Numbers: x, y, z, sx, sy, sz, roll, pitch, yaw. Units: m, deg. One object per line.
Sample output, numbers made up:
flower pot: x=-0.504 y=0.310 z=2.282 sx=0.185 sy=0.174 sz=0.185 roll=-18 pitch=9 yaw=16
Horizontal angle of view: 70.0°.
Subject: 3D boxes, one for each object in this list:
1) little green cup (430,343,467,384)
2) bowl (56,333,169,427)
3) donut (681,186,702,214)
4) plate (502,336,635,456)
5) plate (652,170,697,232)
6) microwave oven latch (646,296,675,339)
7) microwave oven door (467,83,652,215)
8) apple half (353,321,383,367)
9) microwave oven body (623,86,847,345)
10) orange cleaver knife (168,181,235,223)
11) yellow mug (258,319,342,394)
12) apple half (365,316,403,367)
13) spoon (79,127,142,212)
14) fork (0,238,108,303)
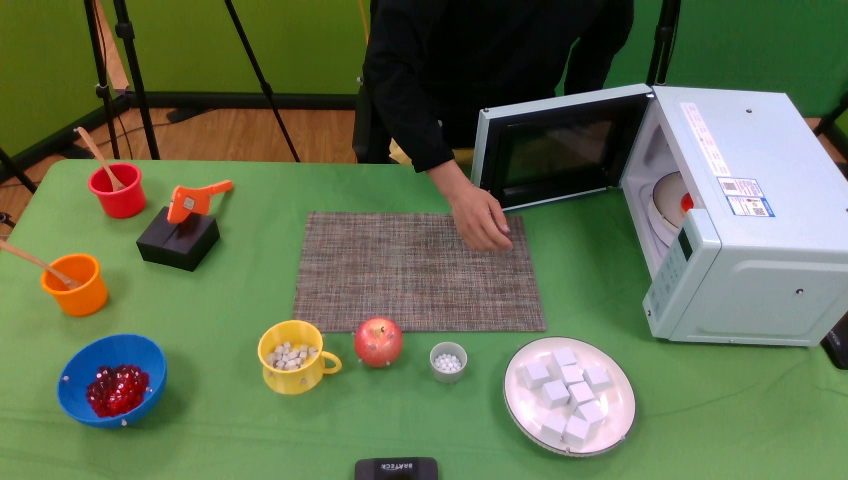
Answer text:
little green cup: x=0.039 y=0.203 z=0.994 sx=0.061 sy=0.039 sz=0.061 roll=2 pitch=46 yaw=-2
bowl: x=-0.456 y=0.223 z=0.911 sx=0.151 sy=0.077 sz=0.150 roll=3 pitch=46 yaw=-2
donut: x=0.553 y=-0.067 z=1.184 sx=0.099 sy=0.048 sz=0.098 roll=2 pitch=49 yaw=-2
plate: x=0.225 y=0.248 z=0.963 sx=0.208 sy=0.039 sz=0.206 roll=2 pitch=46 yaw=-2
plate: x=0.555 y=-0.059 z=1.196 sx=0.209 sy=0.038 sz=0.208 roll=2 pitch=46 yaw=-2
microwave oven latch: x=0.412 y=0.134 z=1.061 sx=0.030 sy=0.029 sz=0.078 roll=3 pitch=45 yaw=0
microwave oven door: x=0.267 y=-0.181 z=1.214 sx=0.356 sy=0.245 sz=0.039 roll=-12 pitch=49 yaw=-15
apple half: x=-0.097 y=0.177 z=0.984 sx=0.033 sy=0.081 sz=0.081 roll=-16 pitch=49 yaw=-25
microwave oven body: x=0.567 y=-0.053 z=1.118 sx=0.326 sy=0.261 sz=0.439 roll=2 pitch=45 yaw=-1
orange cleaver knife: x=-0.436 y=-0.078 z=1.196 sx=0.012 sy=0.077 sz=0.211 roll=16 pitch=15 yaw=10
yellow mug: x=-0.195 y=0.188 z=0.972 sx=0.131 sy=0.064 sz=0.099 roll=9 pitch=47 yaw=4
apple half: x=-0.063 y=0.165 z=1.000 sx=0.053 sy=0.075 sz=0.080 roll=-16 pitch=45 yaw=-24
spoon: x=-0.624 y=-0.140 z=1.203 sx=0.041 sy=0.021 sz=0.194 roll=-33 pitch=100 yaw=-26
fork: x=-0.633 y=0.048 z=1.017 sx=0.208 sy=0.018 sz=0.028 roll=40 pitch=43 yaw=-27
